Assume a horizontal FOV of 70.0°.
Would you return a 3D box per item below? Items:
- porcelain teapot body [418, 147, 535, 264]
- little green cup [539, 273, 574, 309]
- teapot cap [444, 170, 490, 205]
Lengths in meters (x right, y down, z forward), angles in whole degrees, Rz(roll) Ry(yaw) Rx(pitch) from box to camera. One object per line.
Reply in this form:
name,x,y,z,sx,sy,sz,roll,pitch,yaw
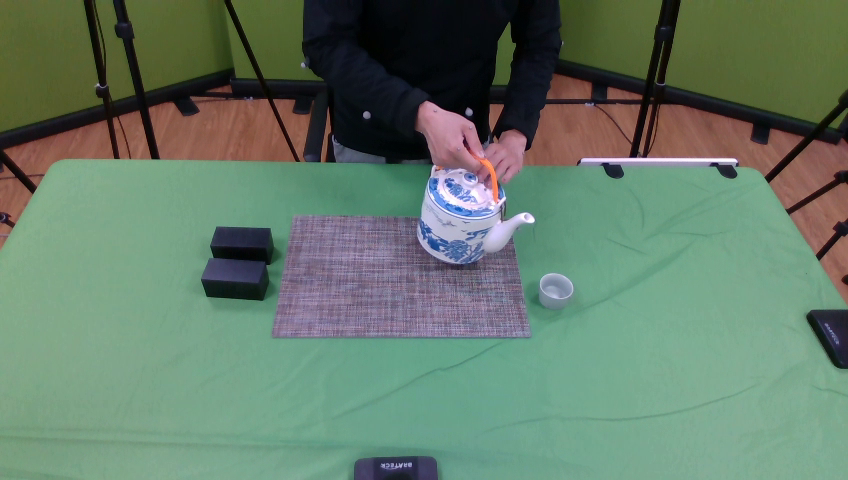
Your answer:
porcelain teapot body,0.097,-0.057,1.084,0.205,0.226,0.145,28,49,13
little green cup,0.240,0.096,1.113,0.061,0.039,0.061,2,47,-2
teapot cap,0.077,-0.095,1.060,0.085,0.044,0.084,6,51,-8
